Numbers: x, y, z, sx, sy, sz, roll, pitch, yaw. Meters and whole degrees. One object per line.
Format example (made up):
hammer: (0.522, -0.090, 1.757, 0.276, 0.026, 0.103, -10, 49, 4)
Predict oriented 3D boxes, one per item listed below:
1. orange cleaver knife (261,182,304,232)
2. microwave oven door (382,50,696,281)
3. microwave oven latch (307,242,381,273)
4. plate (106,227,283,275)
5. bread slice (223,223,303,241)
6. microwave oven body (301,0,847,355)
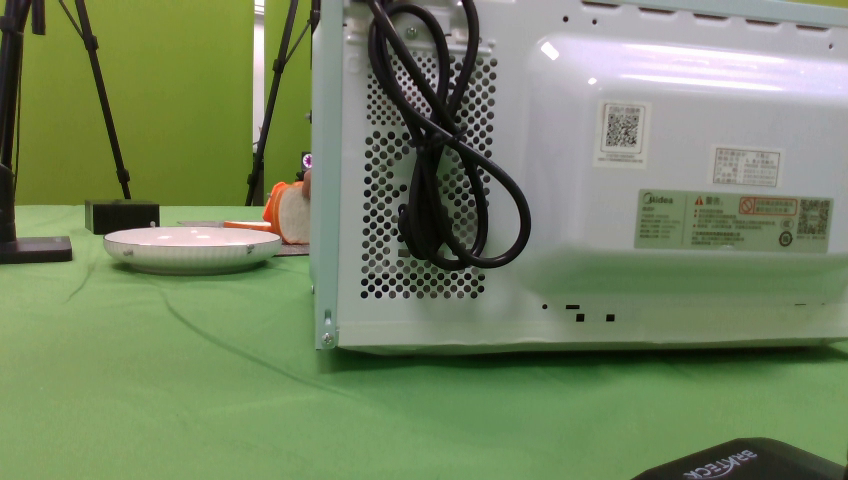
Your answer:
orange cleaver knife: (-0.180, -0.050, 1.030, 0.012, 0.077, 0.212, 15, 7, 43)
microwave oven door: (0.135, -0.077, 0.685, 0.357, 0.243, 0.039, 1, 8, -12)
microwave oven latch: (-0.086, 0.019, 0.656, 0.079, 0.029, 0.030, 2, 7, -10)
plate: (-0.288, 0.013, 0.772, 0.208, 0.039, 0.207, 2, 7, 0)
bread slice: (-0.275, -0.014, 1.041, 0.135, 0.018, 0.106, 7, -3, -42)
microwave oven body: (0.120, -0.053, 0.535, 0.443, 0.260, 0.325, 2, 7, -11)
